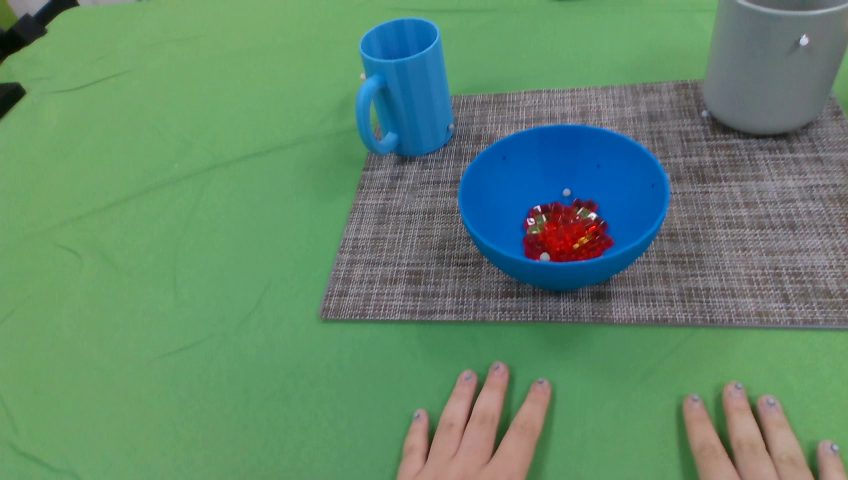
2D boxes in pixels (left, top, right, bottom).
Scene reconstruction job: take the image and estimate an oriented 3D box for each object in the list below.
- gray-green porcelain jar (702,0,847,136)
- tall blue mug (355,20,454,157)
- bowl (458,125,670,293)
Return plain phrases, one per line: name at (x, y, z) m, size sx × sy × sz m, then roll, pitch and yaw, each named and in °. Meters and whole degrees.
gray-green porcelain jar at (0.305, -0.164, 0.528) m, size 0.106 × 0.128 × 0.105 m, roll -6°, pitch 47°, yaw 7°
tall blue mug at (-0.017, -0.135, 0.584) m, size 0.077 × 0.109 × 0.106 m, roll 0°, pitch 48°, yaw 11°
bowl at (0.105, -0.012, 0.466) m, size 0.151 × 0.077 × 0.150 m, roll -6°, pitch 47°, yaw 7°
